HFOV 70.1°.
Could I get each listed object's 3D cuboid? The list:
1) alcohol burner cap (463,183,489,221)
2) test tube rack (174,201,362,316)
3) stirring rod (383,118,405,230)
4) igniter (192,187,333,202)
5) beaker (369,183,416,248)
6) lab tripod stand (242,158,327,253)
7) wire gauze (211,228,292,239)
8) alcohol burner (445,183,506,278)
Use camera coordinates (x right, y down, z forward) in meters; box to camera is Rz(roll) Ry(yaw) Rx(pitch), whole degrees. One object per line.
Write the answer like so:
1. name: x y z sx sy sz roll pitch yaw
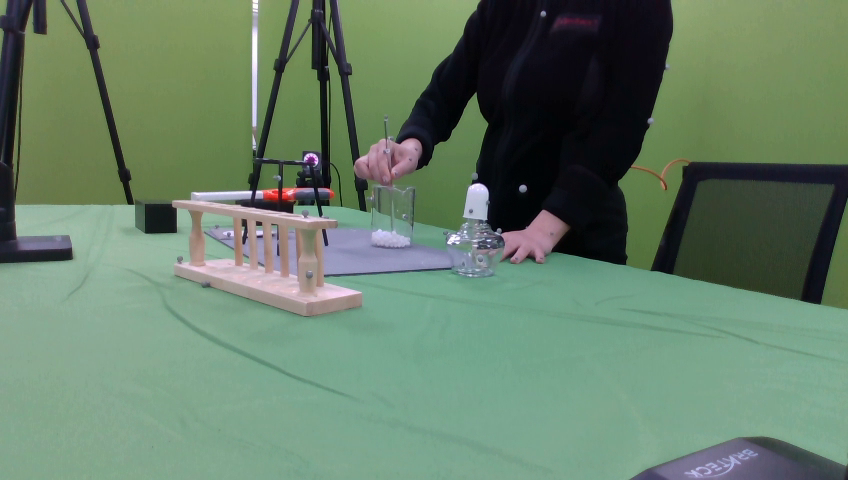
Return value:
1. alcohol burner cap: 0.067 -0.048 0.765 0.034 0.048 0.034 5 4 0
2. test tube rack: -0.169 0.009 0.622 0.241 0.085 0.067 9 9 41
3. stirring rod: -0.047 -0.103 0.951 0.014 0.176 0.006 1 12 42
4. igniter: -0.316 -0.090 1.213 0.278 0.025 0.057 -5 13 -31
5. beaker: -0.050 -0.039 0.971 0.074 0.100 0.083 -1 9 -25
6. lab tripod stand: -0.207 -0.054 0.895 0.148 0.131 0.148 3 5 0
7. wire gauze: -0.298 -0.013 1.039 0.122 0.011 0.124 -2 6 -27
8. alcohol burner: 0.066 -0.013 0.770 0.078 0.119 0.078 0 7 0
